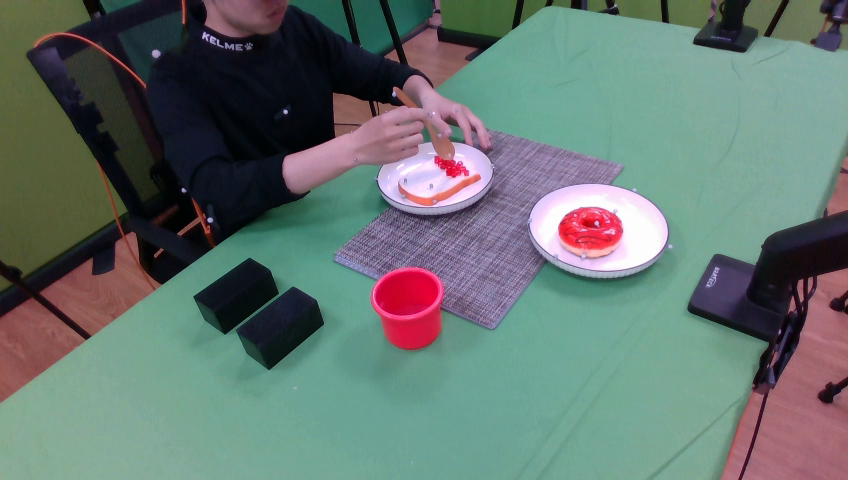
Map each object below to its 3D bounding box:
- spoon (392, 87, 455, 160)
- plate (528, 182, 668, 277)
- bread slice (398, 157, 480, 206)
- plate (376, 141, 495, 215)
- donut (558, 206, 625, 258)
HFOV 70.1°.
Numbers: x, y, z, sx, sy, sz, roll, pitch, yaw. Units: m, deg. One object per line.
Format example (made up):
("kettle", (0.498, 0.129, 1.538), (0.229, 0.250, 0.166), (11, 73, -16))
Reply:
("spoon", (0.002, -0.191, 0.992), (0.021, 0.195, 0.041), (7, 69, 31))
("plate", (0.264, -0.014, 0.933), (0.207, 0.039, 0.206), (-3, 42, 3))
("bread slice", (0.021, -0.106, 1.078), (0.132, 0.019, 0.104), (-31, 45, -29))
("plate", (0.022, -0.106, 1.073), (0.209, 0.038, 0.208), (-4, 40, 4))
("donut", (0.254, -0.015, 0.917), (0.099, 0.048, 0.098), (-5, 41, 5))
